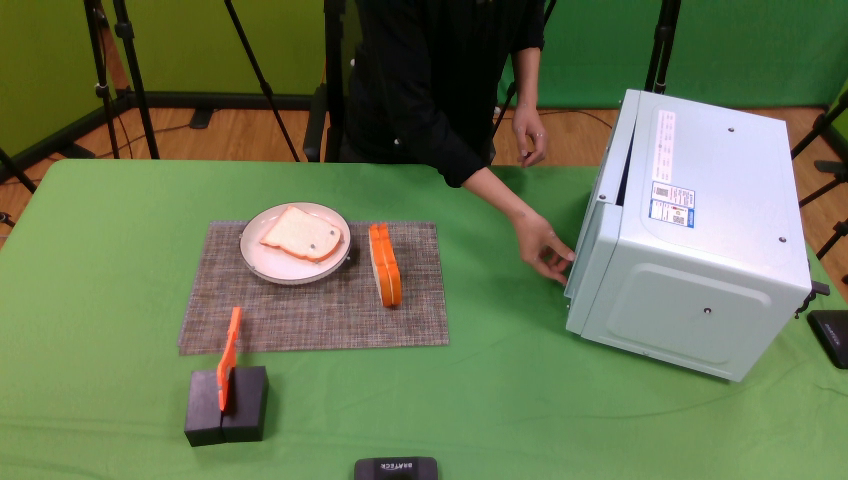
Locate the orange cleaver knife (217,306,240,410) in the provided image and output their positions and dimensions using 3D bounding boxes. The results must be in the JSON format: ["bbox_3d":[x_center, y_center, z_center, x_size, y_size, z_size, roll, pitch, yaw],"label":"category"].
[{"bbox_3d":[-0.307,0.180,0.957,0.012,0.077,0.210,-2,25,-8],"label":"orange cleaver knife"}]

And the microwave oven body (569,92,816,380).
[{"bbox_3d":[0.469,-0.021,1.082,0.325,0.261,0.440,15,46,11],"label":"microwave oven body"}]

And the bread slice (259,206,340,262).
[{"bbox_3d":[-0.231,-0.009,1.168,0.134,0.018,0.106,19,51,10],"label":"bread slice"}]

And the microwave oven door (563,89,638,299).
[{"bbox_3d":[0.336,-0.093,1.134,0.039,0.245,0.354,17,47,12],"label":"microwave oven door"}]

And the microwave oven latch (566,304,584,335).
[{"bbox_3d":[0.268,0.126,1.058,0.030,0.029,0.079,17,46,13],"label":"microwave oven latch"}]

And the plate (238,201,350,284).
[{"bbox_3d":[-0.245,0.007,1.155,0.208,0.039,0.206,2,46,-2],"label":"plate"}]
